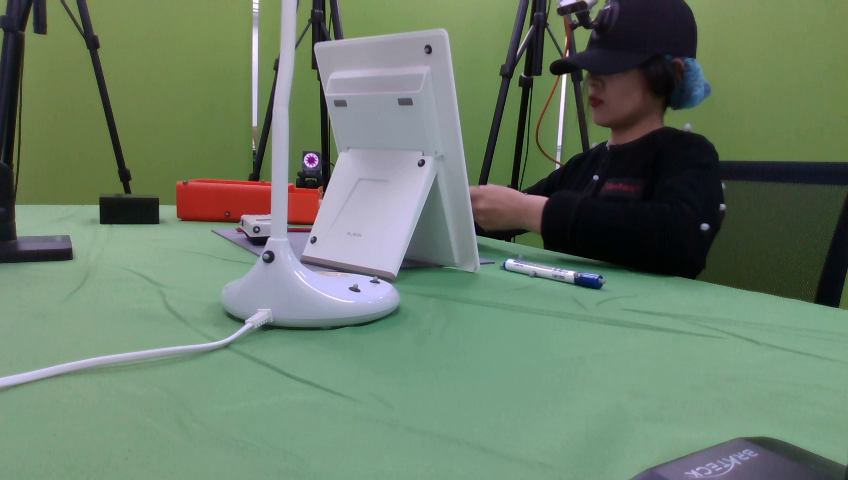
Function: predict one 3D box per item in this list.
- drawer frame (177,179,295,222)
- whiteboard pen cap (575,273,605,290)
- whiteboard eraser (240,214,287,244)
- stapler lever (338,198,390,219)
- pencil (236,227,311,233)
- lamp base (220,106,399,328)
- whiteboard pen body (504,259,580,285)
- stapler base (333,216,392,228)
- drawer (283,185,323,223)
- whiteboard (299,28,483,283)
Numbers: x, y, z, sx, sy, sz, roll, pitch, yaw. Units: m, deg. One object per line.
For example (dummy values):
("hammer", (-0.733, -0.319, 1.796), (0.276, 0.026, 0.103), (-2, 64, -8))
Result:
("drawer frame", (-0.397, -0.088, 1.315), (0.214, 0.082, 0.201), (1, 8, -7))
("whiteboard pen cap", (0.197, 0.047, 0.719), (0.018, 0.018, 0.033), (-4, 11, -41))
("whiteboard eraser", (-0.256, -0.018, 0.958), (0.056, 0.042, 0.112), (0, 8, -25))
("stapler lever", (-0.124, -0.064, 1.249), (0.119, 0.040, 0.026), (1, 7, -42))
("pencil", (-0.239, -0.017, 1.093), (0.195, 0.012, 0.012), (1, 7, -27))
("lamp base", (-0.101, -0.023, 0.531), (0.160, 0.180, 0.179), (4, 10, 10))
("whiteboard pen body", (0.157, 0.042, 0.764), (0.017, 0.017, 0.140), (-4, 10, -41))
("stapler base", (-0.126, -0.038, 1.250), (0.131, 0.024, 0.041), (0, 8, -42))
("drawer", (-0.329, -0.085, 1.326), (0.212, 0.073, 0.194), (1, 8, -7))
("whiteboard", (-0.075, -0.082, 0.741), (0.216, 0.305, 0.144), (9, 30, 38))
